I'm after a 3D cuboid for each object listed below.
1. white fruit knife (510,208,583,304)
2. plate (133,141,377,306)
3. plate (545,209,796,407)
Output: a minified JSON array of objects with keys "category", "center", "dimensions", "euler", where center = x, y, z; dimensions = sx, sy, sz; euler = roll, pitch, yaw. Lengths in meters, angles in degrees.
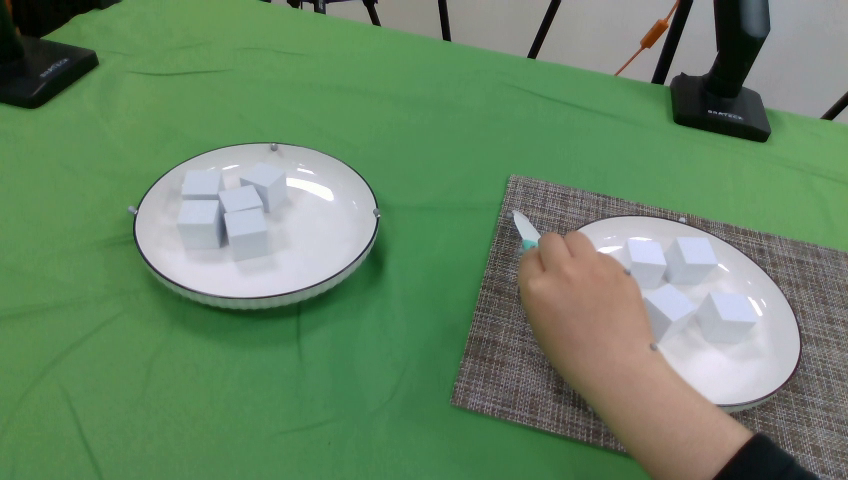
[{"category":"white fruit knife","center":[0.096,0.004,0.525],"dimensions":[0.027,0.016,0.206],"euler":[14,19,-7]},{"category":"plate","center":[-0.147,-0.016,0.549],"dimensions":[0.209,0.038,0.207],"euler":[5,44,-4]},{"category":"plate","center":[0.204,0.055,0.522],"dimensions":[0.208,0.039,0.205],"euler":[4,45,-4]}]
